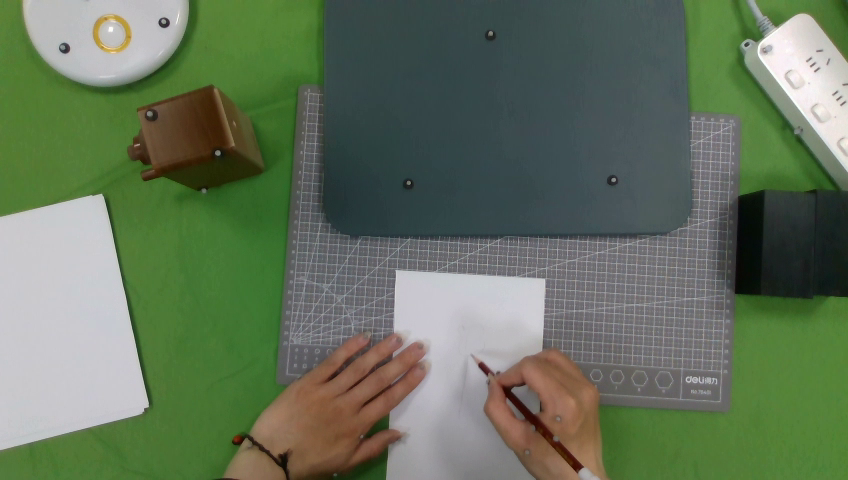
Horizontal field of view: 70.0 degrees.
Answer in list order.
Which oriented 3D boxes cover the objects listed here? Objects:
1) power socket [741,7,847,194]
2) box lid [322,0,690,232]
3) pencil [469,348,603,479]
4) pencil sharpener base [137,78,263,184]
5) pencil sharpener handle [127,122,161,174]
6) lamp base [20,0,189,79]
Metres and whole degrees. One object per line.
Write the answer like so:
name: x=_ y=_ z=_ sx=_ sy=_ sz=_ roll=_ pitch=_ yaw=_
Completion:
power socket: x=0.413 y=-0.132 z=0.608 sx=0.072 sy=0.032 sz=0.226 roll=-36 pitch=88 yaw=-3
box lid: x=0.084 y=-0.140 z=0.610 sx=0.372 sy=0.015 sz=0.263 roll=0 pitch=87 yaw=-1
pencil: x=0.089 y=0.145 z=0.517 sx=0.012 sy=0.192 sz=0.012 roll=-14 pitch=120 yaw=-24
pencil sharpener base: x=-0.202 y=-0.094 z=0.554 sx=0.077 sy=0.107 sz=0.061 roll=-17 pitch=88 yaw=-2
pencil sharpener handle: x=-0.250 y=-0.077 z=0.539 sx=0.030 sy=0.068 sz=0.036 roll=-17 pitch=75 yaw=-1
lamp base: x=-0.319 y=-0.253 z=0.521 sx=0.160 sy=0.180 sz=0.179 roll=-28 pitch=85 yaw=-3
